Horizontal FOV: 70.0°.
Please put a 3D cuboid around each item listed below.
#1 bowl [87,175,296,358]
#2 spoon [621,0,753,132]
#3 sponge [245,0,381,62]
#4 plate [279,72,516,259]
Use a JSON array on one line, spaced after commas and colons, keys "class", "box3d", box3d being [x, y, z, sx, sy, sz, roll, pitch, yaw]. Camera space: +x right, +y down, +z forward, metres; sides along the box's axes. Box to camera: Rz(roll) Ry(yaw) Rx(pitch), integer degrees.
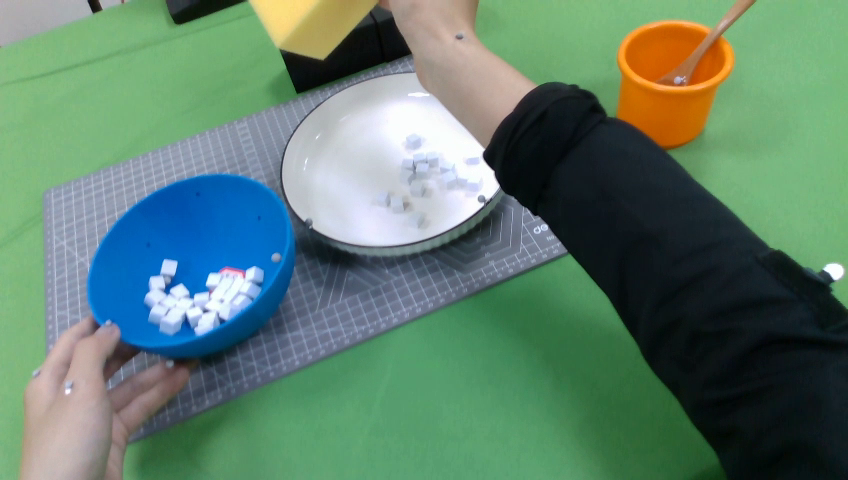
[{"class": "bowl", "box3d": [-0.163, 0.032, 0.467, 0.151, 0.077, 0.150, -5, 55, 7]}, {"class": "spoon", "box3d": [0.238, -0.167, 0.500, 0.022, 0.194, 0.041, 3, 44, -45]}, {"class": "sponge", "box3d": [-0.059, -0.254, 0.463, 0.207, 0.061, 0.117, -38, 79, 25]}, {"class": "plate", "box3d": [-0.023, -0.067, 0.538, 0.209, 0.038, 0.207, -4, 55, 6]}]
